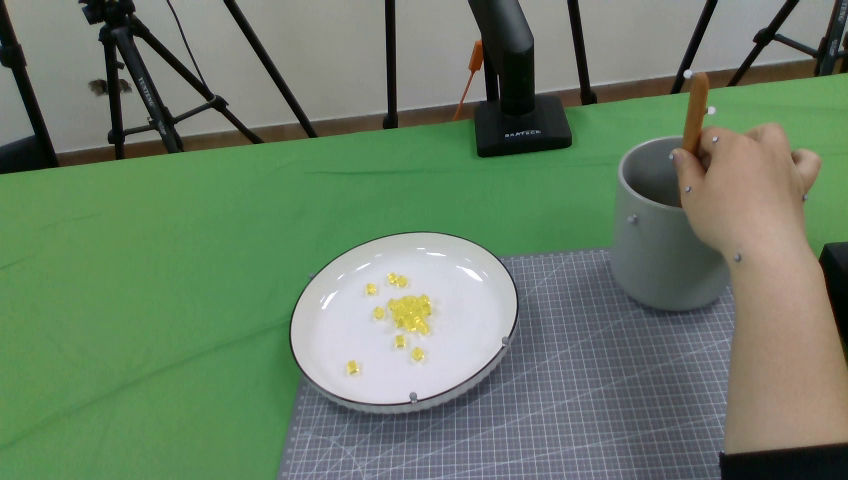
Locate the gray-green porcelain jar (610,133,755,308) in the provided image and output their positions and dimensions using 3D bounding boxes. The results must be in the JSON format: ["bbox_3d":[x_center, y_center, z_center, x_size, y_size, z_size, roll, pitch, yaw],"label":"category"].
[{"bbox_3d":[0.219,-0.012,0.530,0.106,0.128,0.105,-6,42,6],"label":"gray-green porcelain jar"}]

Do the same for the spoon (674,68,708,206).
[{"bbox_3d":[0.212,-0.048,0.490,0.021,0.196,0.041,-31,45,-14],"label":"spoon"}]

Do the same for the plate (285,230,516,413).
[{"bbox_3d":[-0.020,0.072,0.554,0.207,0.039,0.205,-6,41,5],"label":"plate"}]
